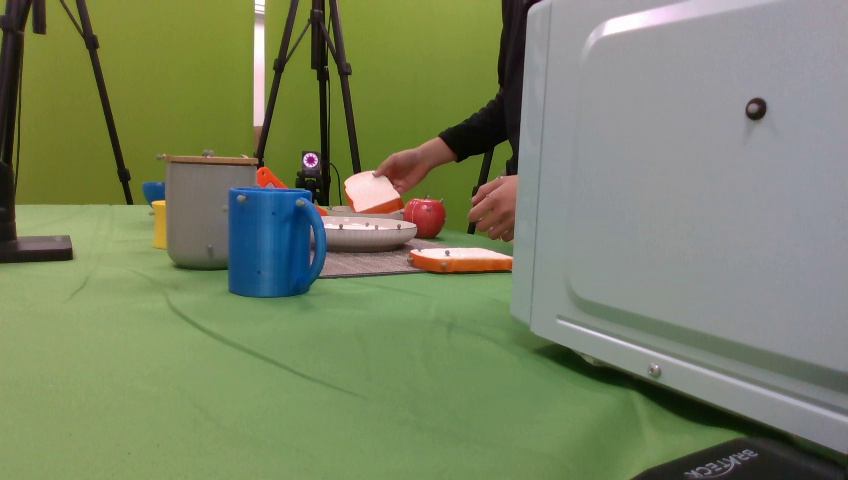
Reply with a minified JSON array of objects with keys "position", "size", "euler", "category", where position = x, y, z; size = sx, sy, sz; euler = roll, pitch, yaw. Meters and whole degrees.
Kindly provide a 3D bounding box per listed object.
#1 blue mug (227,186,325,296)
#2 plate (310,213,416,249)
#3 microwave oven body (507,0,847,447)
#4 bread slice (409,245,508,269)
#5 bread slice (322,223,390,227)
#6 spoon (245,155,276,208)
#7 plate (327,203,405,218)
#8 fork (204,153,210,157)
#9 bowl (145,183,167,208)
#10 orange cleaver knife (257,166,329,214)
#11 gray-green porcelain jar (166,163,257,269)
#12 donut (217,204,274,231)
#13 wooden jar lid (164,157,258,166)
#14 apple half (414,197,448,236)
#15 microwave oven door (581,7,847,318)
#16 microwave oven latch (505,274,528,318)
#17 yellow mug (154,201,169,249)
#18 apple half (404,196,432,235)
[{"position":[-0.147,0.000,0.618],"size":[0.116,0.106,0.083],"euler":[7,9,32],"category":"blue mug"},{"position":[-0.117,-0.014,0.967],"size":[0.208,0.039,0.207],"euler":[2,7,0],"category":"plate"},{"position":[0.331,-0.042,0.425],"size":[0.444,0.260,0.324],"euler":[-2,8,-31],"category":"microwave oven body"},{"position":[0.048,0.021,0.816],"size":[0.132,0.019,0.104],"euler":[0,7,-24],"category":"bread slice"},{"position":[-0.116,-0.014,0.974],"size":[0.135,0.018,0.106],"euler":[-6,11,-42],"category":"bread slice"},{"position":[-0.421,-0.150,1.540],"size":[0.042,0.021,0.193],"euler":[-5,55,-37],"category":"spoon"},{"position":[-0.102,-0.053,1.299],"size":[0.209,0.038,0.209],"euler":[2,8,0],"category":"plate"},{"position":[-0.480,-0.136,1.412],"size":[0.028,0.018,0.207],"euler":[0,-34,-1],"category":"fork"},{"position":[-0.459,-0.069,1.175],"size":[0.151,0.077,0.151],"euler":[3,7,0],"category":"bowl"},{"position":[-0.296,-0.086,1.333],"size":[0.012,0.077,0.212],"euler":[2,-24,46],"category":"orange cleaver knife"},{"position":[-0.263,-0.032,0.754],"size":[0.106,0.126,0.106],"euler":[2,7,0],"category":"gray-green porcelain jar"},{"position":[-0.318,-0.038,1.080],"size":[0.099,0.048,0.099],"euler":[3,7,0],"category":"donut"},{"position":[-0.261,-0.093,0.746],"size":[0.108,0.020,0.108],"euler":[0,9,0],"category":"wooden jar lid"},{"position":[0.020,-0.044,1.121],"size":[0.082,0.081,0.032],"euler":[-5,5,-39],"category":"apple half"},{"position":[0.295,-0.067,0.569],"size":[0.358,0.243,0.039],"euler":[-3,8,-31],"category":"microwave oven door"},{"position":[0.100,0.041,0.471],"size":[0.079,0.029,0.030],"euler":[-1,8,-28],"category":"microwave oven latch"},{"position":[-0.337,-0.022,0.899],"size":[0.130,0.064,0.100],"euler":[8,9,34],"category":"yellow mug"},{"position":[-0.006,-0.048,1.150],"size":[0.081,0.074,0.053],"euler":[-7,7,-40],"category":"apple half"}]
